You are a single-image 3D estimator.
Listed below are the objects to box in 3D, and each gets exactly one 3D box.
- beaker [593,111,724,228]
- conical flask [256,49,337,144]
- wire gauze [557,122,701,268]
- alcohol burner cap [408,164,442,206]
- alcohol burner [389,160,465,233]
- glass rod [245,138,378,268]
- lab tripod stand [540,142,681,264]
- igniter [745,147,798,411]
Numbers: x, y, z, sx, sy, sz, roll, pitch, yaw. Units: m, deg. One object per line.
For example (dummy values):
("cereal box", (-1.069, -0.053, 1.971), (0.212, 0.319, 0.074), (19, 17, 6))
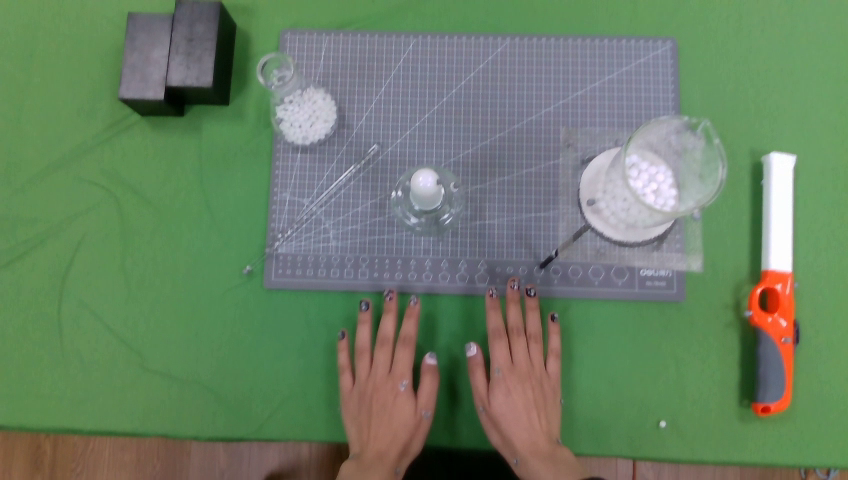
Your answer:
("beaker", (0.180, -0.051, 0.479), (0.074, 0.100, 0.084), (37, 85, 6))
("conical flask", (-0.136, -0.151, 0.620), (0.075, 0.122, 0.075), (0, 81, 2))
("wire gauze", (0.178, -0.041, 0.526), (0.125, 0.011, 0.121), (5, 85, 1))
("alcohol burner cap", (0.000, -0.055, 0.572), (0.034, 0.048, 0.033), (0, 75, 1))
("alcohol burner", (0.002, -0.047, 0.607), (0.078, 0.119, 0.077), (0, 82, 4))
("glass rod", (-0.122, -0.042, 0.661), (0.008, 0.008, 0.199), (44, 85, 7))
("lab tripod stand", (0.180, -0.029, 0.590), (0.148, 0.132, 0.148), (0, 83, 2))
("igniter", (0.364, 0.039, 0.633), (0.057, 0.025, 0.275), (8, 82, -8))
